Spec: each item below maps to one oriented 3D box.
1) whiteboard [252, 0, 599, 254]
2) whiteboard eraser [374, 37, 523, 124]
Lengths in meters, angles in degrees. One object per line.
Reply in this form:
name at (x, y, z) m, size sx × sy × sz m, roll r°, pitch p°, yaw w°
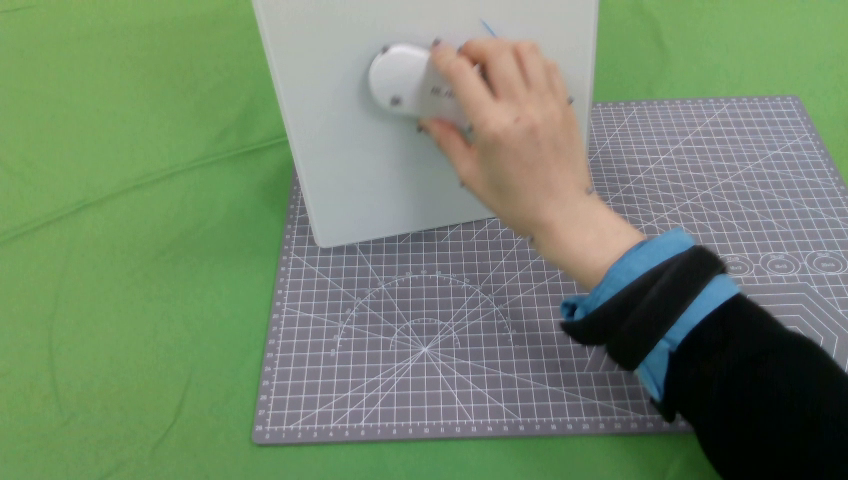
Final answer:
whiteboard at (-0.002, -0.171, 0.436) m, size 0.217 × 0.308 × 0.142 m, roll -10°, pitch 36°, yaw -4°
whiteboard eraser at (0.017, -0.104, 0.397) m, size 0.102 × 0.041 × 0.018 m, roll 9°, pitch 33°, yaw -19°
